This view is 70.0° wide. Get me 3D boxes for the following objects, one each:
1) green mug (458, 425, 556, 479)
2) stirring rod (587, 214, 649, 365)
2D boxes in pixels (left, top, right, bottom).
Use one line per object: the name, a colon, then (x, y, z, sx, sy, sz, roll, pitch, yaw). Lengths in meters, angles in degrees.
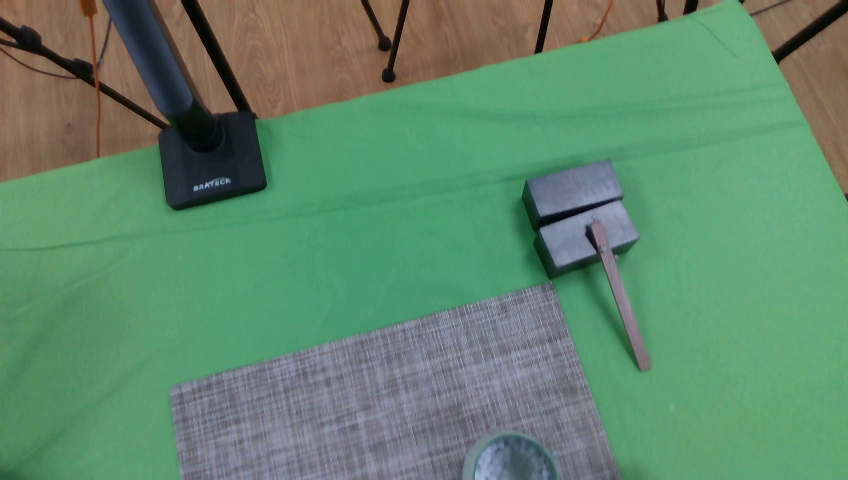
green mug: (0.090, 0.240, 0.586, 0.092, 0.105, 0.124, -32, 73, -9)
stirring rod: (0.213, 0.055, 0.666, 0.014, 0.006, 0.176, -20, 93, -6)
